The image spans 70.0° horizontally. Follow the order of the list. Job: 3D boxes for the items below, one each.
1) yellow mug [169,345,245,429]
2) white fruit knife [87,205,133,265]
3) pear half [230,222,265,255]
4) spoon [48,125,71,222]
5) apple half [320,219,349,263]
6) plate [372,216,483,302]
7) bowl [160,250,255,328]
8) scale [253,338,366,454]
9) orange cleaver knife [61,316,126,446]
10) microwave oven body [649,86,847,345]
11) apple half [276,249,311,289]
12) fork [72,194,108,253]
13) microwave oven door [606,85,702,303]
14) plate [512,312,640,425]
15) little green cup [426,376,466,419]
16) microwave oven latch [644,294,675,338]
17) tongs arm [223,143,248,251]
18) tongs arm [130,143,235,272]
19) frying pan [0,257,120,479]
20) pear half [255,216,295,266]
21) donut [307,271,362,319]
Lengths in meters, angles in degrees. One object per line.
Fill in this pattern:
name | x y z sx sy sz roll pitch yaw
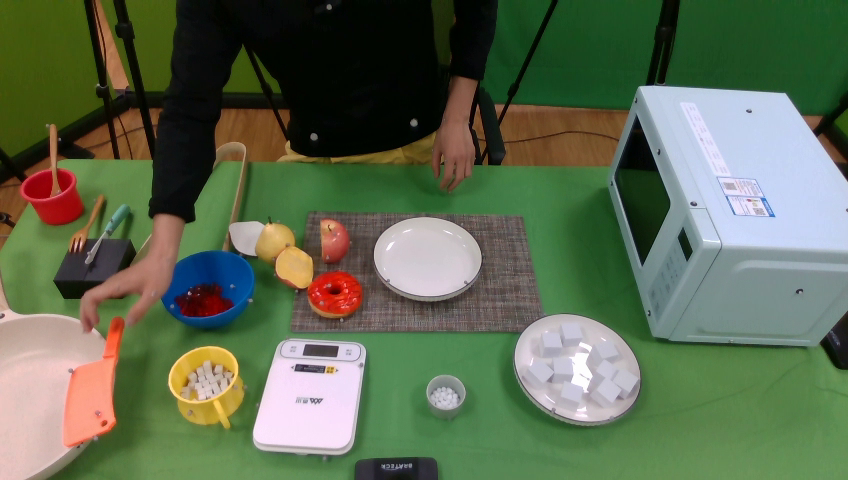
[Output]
yellow mug | -0.322 0.230 0.922 0.100 0.064 0.130 -24 53 -25
white fruit knife | -0.584 -0.013 1.129 0.016 0.027 0.206 0 31 -5
pear half | -0.333 0.000 1.168 0.088 0.031 0.070 29 51 5
spoon | -0.719 -0.131 1.189 0.042 0.021 0.193 -3 90 -7
apple half | -0.169 0.002 1.144 0.053 0.075 0.080 -3 42 -13
plate | 0.006 0.038 1.145 0.209 0.038 0.208 2 46 -2
bowl | -0.362 0.098 1.040 0.151 0.077 0.150 2 45 -2
scale | -0.175 0.236 0.951 0.149 0.032 0.199 4 45 -1
orange cleaver knife | -0.480 0.199 0.888 0.077 0.012 0.210 -8 46 -9
microwave oven body | 0.567 -0.053 1.118 0.326 0.261 0.439 2 45 -1
apple half | -0.244 0.056 1.113 0.082 0.033 0.081 39 31 -29
fork | -0.634 -0.035 1.158 0.028 0.019 0.206 -11 32 -5
microwave oven door | 0.422 -0.094 1.140 0.039 0.245 0.353 2 46 -1
plate | 0.246 0.213 0.999 0.208 0.039 0.206 2 46 -2
little green cup | 0.033 0.248 0.950 0.061 0.039 0.061 2 46 -2
microwave oven latch | 0.410 0.133 1.061 0.030 0.029 0.078 2 45 -1
tongs arm | -0.397 -0.074 1.232 0.051 0.026 0.382 -1 45 -1
tongs arm | -0.483 -0.079 1.233 0.028 0.028 0.385 7 45 12
frying pan | -0.647 0.164 0.936 0.307 0.103 0.485 -19 58 -22
pear half | -0.269 0.001 1.117 0.056 0.110 0.076 25 54 19
donut | -0.158 0.097 1.073 0.099 0.048 0.098 4 45 -4
